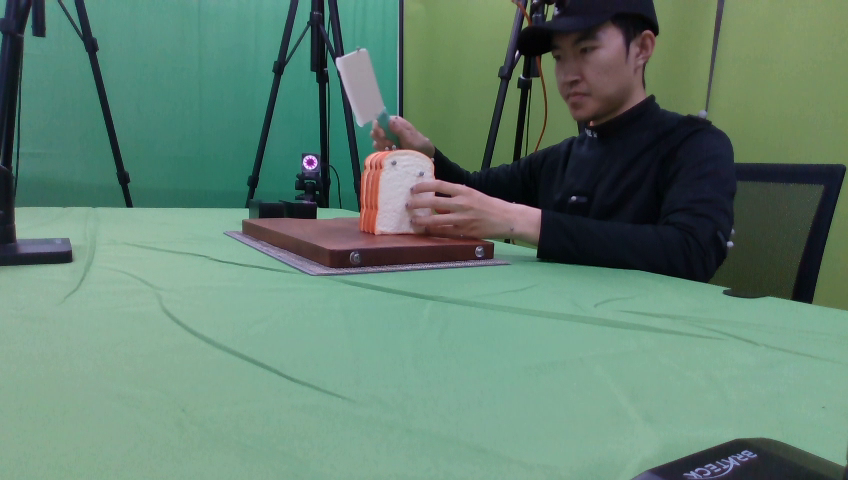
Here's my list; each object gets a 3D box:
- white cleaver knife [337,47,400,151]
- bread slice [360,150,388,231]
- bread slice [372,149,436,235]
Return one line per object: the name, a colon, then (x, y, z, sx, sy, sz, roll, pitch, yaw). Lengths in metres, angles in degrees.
white cleaver knife: (-0.099, -0.242, 1.118, 0.066, 0.021, 0.287, -28, -32, -5)
bread slice: (-0.055, -0.080, 0.986, 0.105, 0.131, 0.019, 0, 1, -31)
bread slice: (-0.031, -0.074, 0.940, 0.107, 0.134, 0.018, -5, 10, -30)
